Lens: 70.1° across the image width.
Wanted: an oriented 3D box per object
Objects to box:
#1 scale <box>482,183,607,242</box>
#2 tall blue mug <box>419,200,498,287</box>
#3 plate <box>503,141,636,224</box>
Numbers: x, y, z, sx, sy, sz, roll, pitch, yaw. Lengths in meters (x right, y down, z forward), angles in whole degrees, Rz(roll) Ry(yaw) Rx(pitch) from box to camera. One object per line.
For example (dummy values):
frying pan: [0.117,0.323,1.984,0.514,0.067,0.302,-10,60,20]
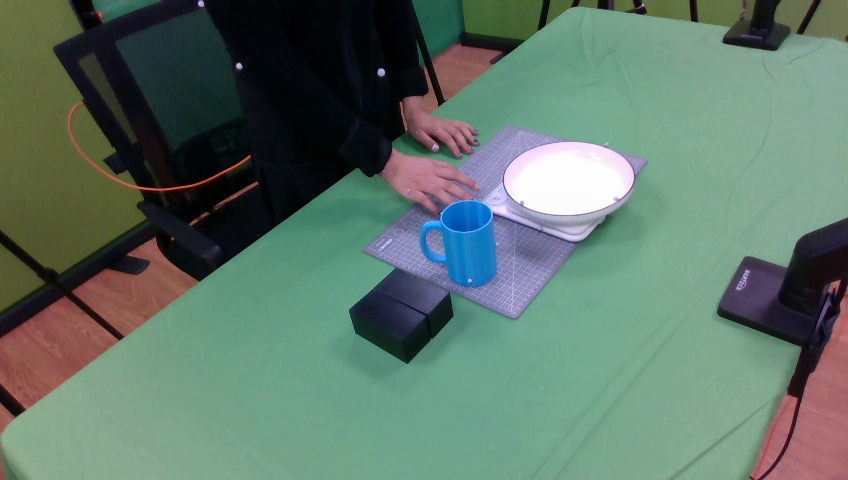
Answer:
scale: [0.211,-0.070,1.014,0.199,0.032,0.149,23,49,33]
tall blue mug: [0.053,0.010,0.889,0.107,0.108,0.077,-16,41,-7]
plate: [0.233,-0.091,0.983,0.209,0.038,0.208,-5,41,5]
